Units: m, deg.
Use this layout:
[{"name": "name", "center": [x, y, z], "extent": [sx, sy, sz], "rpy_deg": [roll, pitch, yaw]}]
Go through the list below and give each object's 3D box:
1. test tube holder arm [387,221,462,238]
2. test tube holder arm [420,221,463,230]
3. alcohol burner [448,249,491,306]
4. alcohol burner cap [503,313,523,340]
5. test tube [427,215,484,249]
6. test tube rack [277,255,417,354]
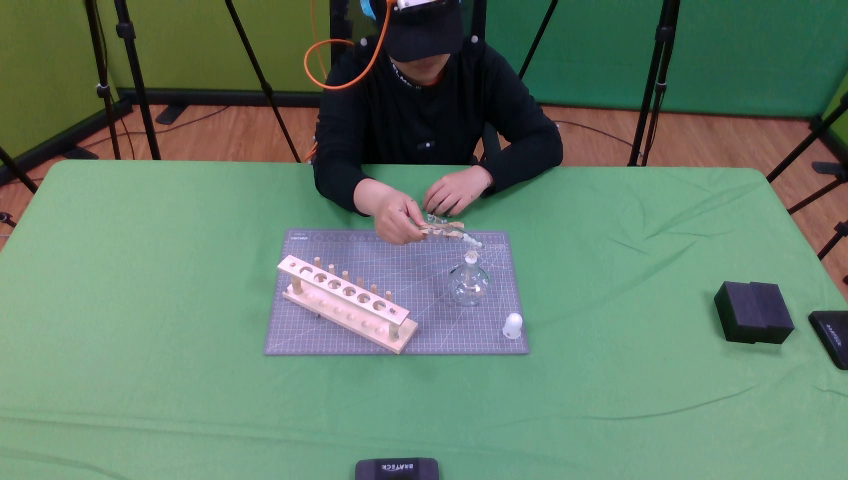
[{"name": "test tube holder arm", "center": [-0.004, -0.019, 1.007], "extent": [0.015, 0.013, 0.177], "rpy_deg": [16, -5, -42]}, {"name": "test tube holder arm", "center": [0.028, -0.022, 0.975], "extent": [0.015, 0.087, 0.010], "rpy_deg": [15, 77, -42]}, {"name": "alcohol burner", "center": [0.081, 0.062, 1.078], "extent": [0.078, 0.120, 0.077], "rpy_deg": [1, 45, -1]}, {"name": "alcohol burner cap", "center": [0.156, 0.148, 1.051], "extent": [0.034, 0.048, 0.033], "rpy_deg": [1, 45, -1]}, {"name": "test tube", "center": [0.054, -0.011, 0.973], "extent": [0.017, 0.151, 0.017], "rpy_deg": [-13, 66, 33]}, {"name": "test tube rack", "center": [-0.131, 0.099, 1.045], "extent": [0.241, 0.085, 0.066], "rpy_deg": [23, 49, 17]}]
